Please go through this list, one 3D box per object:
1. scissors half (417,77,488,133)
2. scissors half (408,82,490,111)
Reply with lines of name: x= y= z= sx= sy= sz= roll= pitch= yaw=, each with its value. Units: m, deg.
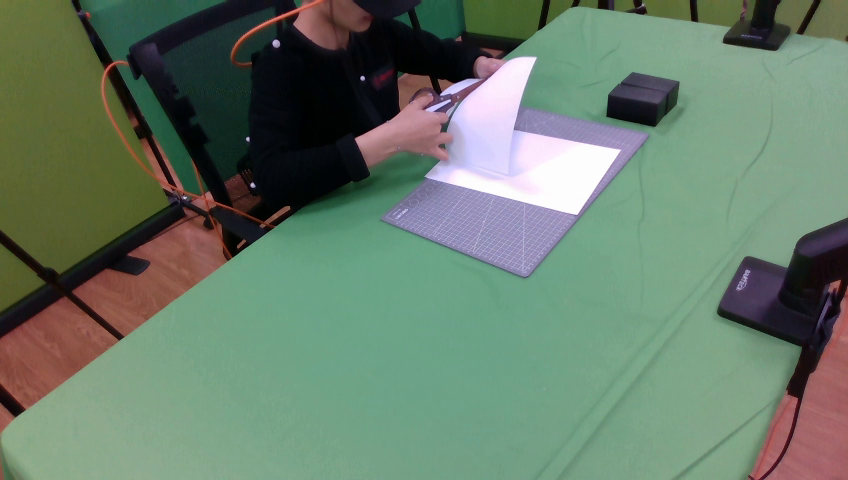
scissors half: x=0.058 y=-0.259 z=1.150 sx=0.175 sy=0.040 sz=0.012 roll=-42 pitch=21 yaw=-11
scissors half: x=0.049 y=-0.278 z=1.143 sx=0.176 sy=0.040 sz=0.012 roll=-17 pitch=19 yaw=-20
